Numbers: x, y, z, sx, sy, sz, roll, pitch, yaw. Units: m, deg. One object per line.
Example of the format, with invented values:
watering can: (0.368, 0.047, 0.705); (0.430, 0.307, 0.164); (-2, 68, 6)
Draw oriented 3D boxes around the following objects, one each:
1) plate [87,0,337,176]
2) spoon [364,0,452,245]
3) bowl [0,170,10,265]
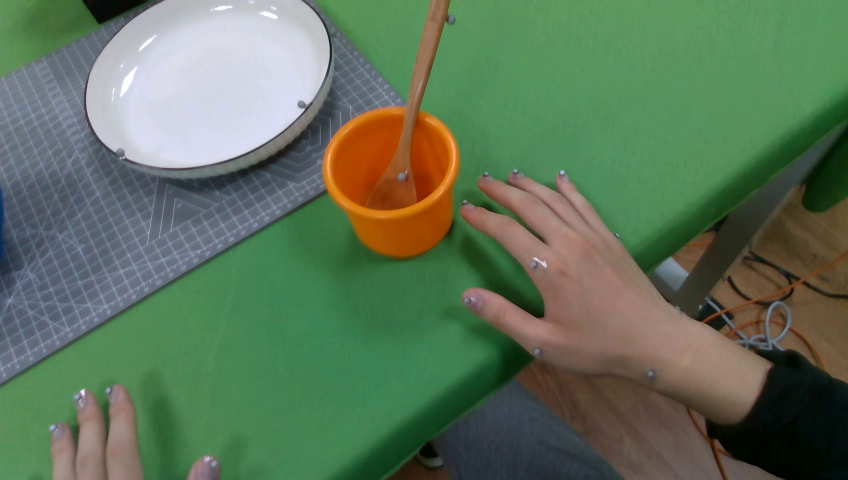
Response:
plate: (-0.175, -0.138, 0.515); (0.209, 0.038, 0.207); (-2, 63, 4)
spoon: (-0.006, -0.087, 0.414); (0.041, 0.194, 0.021); (21, 22, 15)
bowl: (-0.367, -0.006, 0.442); (0.151, 0.077, 0.150); (-2, 62, 5)
